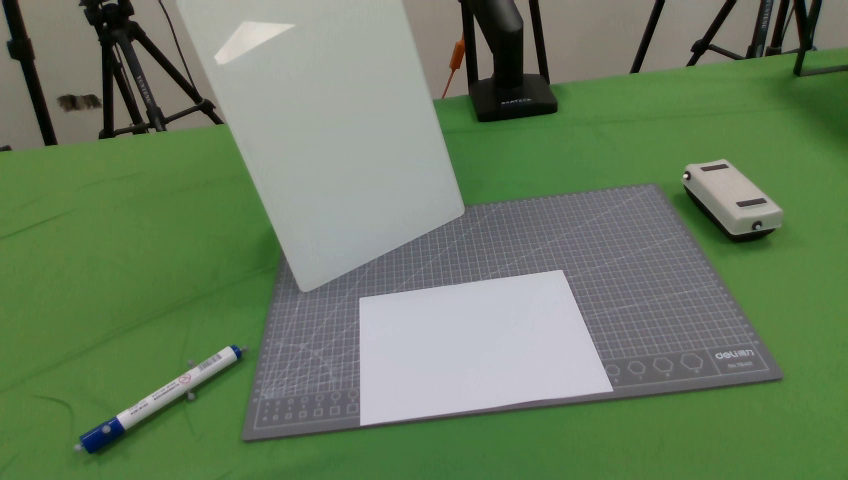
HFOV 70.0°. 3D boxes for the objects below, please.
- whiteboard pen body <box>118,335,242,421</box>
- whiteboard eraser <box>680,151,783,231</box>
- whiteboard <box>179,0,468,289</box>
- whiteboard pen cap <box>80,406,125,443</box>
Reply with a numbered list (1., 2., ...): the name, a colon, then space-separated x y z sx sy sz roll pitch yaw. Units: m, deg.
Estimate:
1. whiteboard pen body: -0.226 0.127 0.537 0.141 0.017 0.017 -33 45 -30
2. whiteboard eraser: 0.331 -0.054 0.659 0.055 0.042 0.111 -12 39 -3
3. whiteboard: -0.113 -0.141 0.673 0.217 0.307 0.142 -27 22 -22
4. whiteboard pen cap: -0.268 0.153 0.508 0.033 0.018 0.018 -34 46 -31
